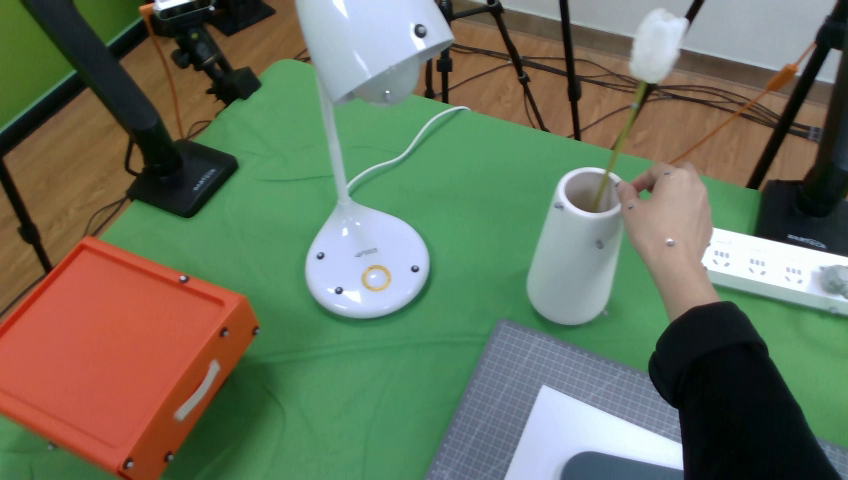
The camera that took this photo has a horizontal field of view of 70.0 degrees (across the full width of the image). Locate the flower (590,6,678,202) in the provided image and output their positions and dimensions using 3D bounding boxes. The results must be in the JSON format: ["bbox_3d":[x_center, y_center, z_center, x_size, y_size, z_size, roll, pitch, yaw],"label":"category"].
[{"bbox_3d":[0.176,-0.051,0.618,0.038,0.364,0.043,11,37,2],"label":"flower"}]

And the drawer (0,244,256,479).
[{"bbox_3d":[-0.319,0.116,0.631,0.211,0.074,0.193,18,57,15],"label":"drawer"}]

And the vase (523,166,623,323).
[{"bbox_3d":[0.165,0.009,0.676,0.098,0.202,0.097,-2,52,3],"label":"vase"}]

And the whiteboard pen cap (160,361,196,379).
[{"bbox_3d":[-0.259,0.137,0.640,0.033,0.018,0.018,-6,52,-6],"label":"whiteboard pen cap"}]

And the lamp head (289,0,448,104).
[{"bbox_3d":[-0.057,-0.183,0.477,0.112,0.112,0.123,-33,97,-21],"label":"lamp head"}]

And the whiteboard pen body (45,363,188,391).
[{"bbox_3d":[-0.318,0.141,0.631,0.141,0.017,0.017,-6,52,-5],"label":"whiteboard pen body"}]

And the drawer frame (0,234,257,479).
[{"bbox_3d":[-0.325,0.118,0.634,0.213,0.083,0.200,19,57,14],"label":"drawer frame"}]

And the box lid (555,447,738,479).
[{"bbox_3d":[0.227,0.376,0.514,0.263,0.015,0.368,10,55,9],"label":"box lid"}]

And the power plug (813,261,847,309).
[{"bbox_3d":[0.470,0.056,0.704,0.035,0.053,0.072,23,59,19],"label":"power plug"}]

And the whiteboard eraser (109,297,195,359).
[{"bbox_3d":[-0.305,0.101,0.688,0.112,0.042,0.055,-14,58,30],"label":"whiteboard eraser"}]

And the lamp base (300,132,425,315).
[{"bbox_3d":[-0.088,-0.028,0.725,0.161,0.182,0.177,-26,53,-17],"label":"lamp base"}]

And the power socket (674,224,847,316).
[{"bbox_3d":[0.432,0.035,0.750,0.226,0.033,0.072,15,56,12],"label":"power socket"}]
